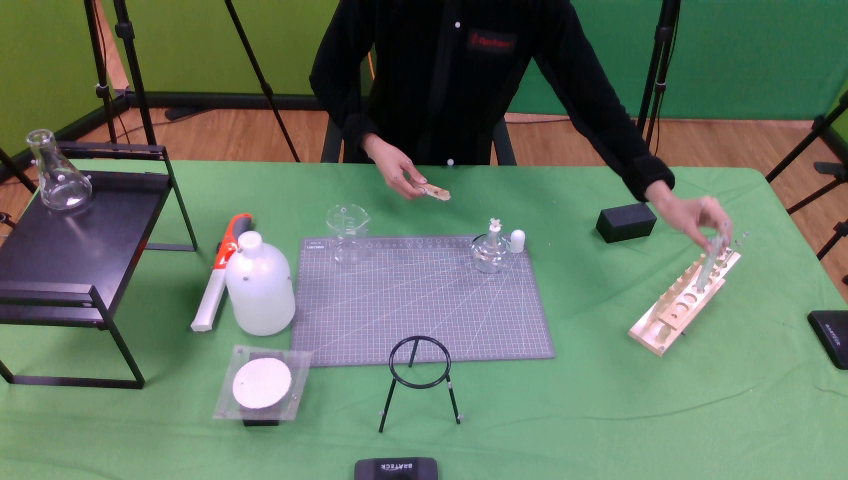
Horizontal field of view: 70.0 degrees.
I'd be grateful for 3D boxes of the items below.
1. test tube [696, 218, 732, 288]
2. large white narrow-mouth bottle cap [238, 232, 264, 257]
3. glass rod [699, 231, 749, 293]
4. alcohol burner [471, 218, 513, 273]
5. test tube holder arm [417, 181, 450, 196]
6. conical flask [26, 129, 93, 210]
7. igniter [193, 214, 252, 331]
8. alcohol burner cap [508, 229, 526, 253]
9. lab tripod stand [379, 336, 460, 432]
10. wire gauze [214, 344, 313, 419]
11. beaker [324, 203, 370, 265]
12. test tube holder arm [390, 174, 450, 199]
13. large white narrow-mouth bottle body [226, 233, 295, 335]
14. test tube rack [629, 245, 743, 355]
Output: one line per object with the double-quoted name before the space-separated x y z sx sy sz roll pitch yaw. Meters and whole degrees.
"test tube" 0.456 0.024 0.957 0.017 0.151 0.017 -2 45 2
"large white narrow-mouth bottle cap" -0.266 0.006 0.932 0.038 0.024 0.037 2 46 -2
"glass rod" 0.515 0.044 1.051 0.008 0.200 0.008 1 55 -1
"alcohol burner" 0.128 0.005 1.132 0.078 0.120 0.077 0 47 0
"test tube holder arm" 0.017 -0.099 1.154 0.015 0.010 0.087 -11 23 -37
"conical flask" -0.575 -0.113 0.946 0.075 0.122 0.075 2 46 -2
"igniter" -0.368 0.050 1.119 0.057 0.025 0.275 -3 46 7
"alcohol burner cap" 0.185 -0.002 1.192 0.034 0.048 0.033 3 46 -3
"lab tripod stand" -0.010 0.214 0.911 0.148 0.132 0.147 1 45 0
"wire gauze" -0.241 0.213 0.915 0.121 0.011 0.124 5 46 1
"beaker" -0.142 -0.009 1.137 0.084 0.101 0.073 -3 47 -7
"test tube holder arm" -0.011 -0.106 1.189 0.015 0.013 0.177 -11 22 -37
"large white narrow-mouth bottle body" -0.270 0.065 0.995 0.102 0.195 0.101 2 46 -2
"test tube rack" 0.474 0.095 1.091 0.242 0.085 0.066 -34 57 -31
